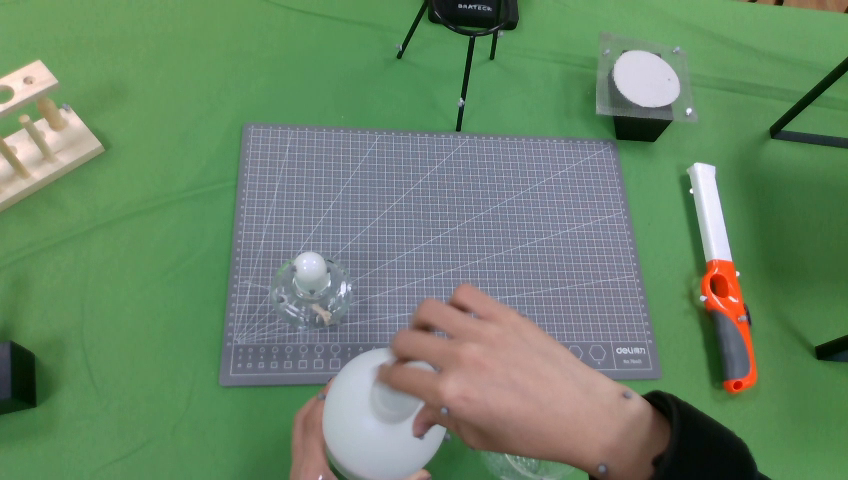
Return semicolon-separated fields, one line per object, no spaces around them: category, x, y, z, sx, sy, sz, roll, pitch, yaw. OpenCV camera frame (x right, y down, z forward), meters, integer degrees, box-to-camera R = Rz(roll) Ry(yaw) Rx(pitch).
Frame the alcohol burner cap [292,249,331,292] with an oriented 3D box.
alcohol burner cap;-0.101;0.025;0.537;0.034;0.048;0.033;2;71;-5

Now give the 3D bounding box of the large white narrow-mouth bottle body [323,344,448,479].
large white narrow-mouth bottle body;-0.032;0.140;0.496;0.102;0.195;0.101;3;65;-7

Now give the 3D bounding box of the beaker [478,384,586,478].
beaker;0.090;0.177;0.552;0.084;0.101;0.073;7;65;-5

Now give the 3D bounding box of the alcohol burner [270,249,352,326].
alcohol burner;-0.106;0.039;0.570;0.078;0.119;0.077;4;65;-9

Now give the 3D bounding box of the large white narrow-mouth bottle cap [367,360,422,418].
large white narrow-mouth bottle cap;-0.020;0.101;0.414;0.038;0.024;0.037;3;66;-7

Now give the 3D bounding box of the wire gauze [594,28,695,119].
wire gauze;0.267;-0.202;0.740;0.122;0.011;0.124;8;65;-5

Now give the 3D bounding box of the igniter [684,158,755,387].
igniter;0.335;0.030;0.693;0.057;0.025;0.274;8;66;-17

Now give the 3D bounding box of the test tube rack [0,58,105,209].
test tube rack;-0.449;-0.068;0.581;0.242;0.085;0.066;-39;77;-22

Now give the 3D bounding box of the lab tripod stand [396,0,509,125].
lab tripod stand;0.041;-0.230;0.703;0.149;0.132;0.147;4;67;-9
